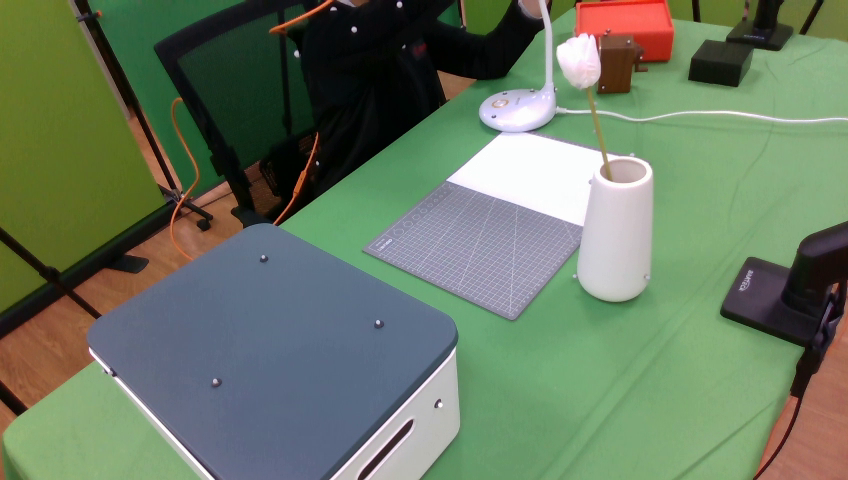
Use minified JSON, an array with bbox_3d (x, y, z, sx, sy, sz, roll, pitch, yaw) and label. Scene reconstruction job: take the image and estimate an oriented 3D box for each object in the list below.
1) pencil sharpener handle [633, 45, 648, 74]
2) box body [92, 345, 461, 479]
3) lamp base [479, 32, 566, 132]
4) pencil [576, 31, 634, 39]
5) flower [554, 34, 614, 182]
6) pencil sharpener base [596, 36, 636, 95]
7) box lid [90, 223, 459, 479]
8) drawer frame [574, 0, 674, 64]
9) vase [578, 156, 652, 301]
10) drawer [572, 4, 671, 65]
[{"bbox_3d":[0.454,-0.378,1.262,0.030,0.068,0.036,1,47,13],"label":"pencil sharpener handle"},{"bbox_3d":[-0.163,0.170,0.708,0.361,0.161,0.255,25,50,34],"label":"box body"},{"bbox_3d":[0.200,-0.332,1.218,0.179,0.181,0.160,1,41,7],"label":"lamp base"},{"bbox_3d":[0.430,-0.488,1.443,0.012,0.012,0.192,-25,30,-18],"label":"pencil"},{"bbox_3d":[0.237,-0.083,0.774,0.044,0.363,0.038,-22,26,6],"label":"flower"},{"bbox_3d":[0.406,-0.369,1.280,0.076,0.107,0.061,1,41,13],"label":"pencil sharpener base"},{"bbox_3d":[-0.174,0.102,0.666,0.368,0.015,0.264,24,48,35],"label":"box lid"},{"bbox_3d":[0.464,-0.492,1.434,0.213,0.083,0.201,1,40,12],"label":"drawer frame"},{"bbox_3d":[0.261,-0.011,0.812,0.098,0.201,0.097,-4,40,4],"label":"vase"},{"bbox_3d":[0.461,-0.490,1.434,0.211,0.073,0.194,2,40,12],"label":"drawer"}]
